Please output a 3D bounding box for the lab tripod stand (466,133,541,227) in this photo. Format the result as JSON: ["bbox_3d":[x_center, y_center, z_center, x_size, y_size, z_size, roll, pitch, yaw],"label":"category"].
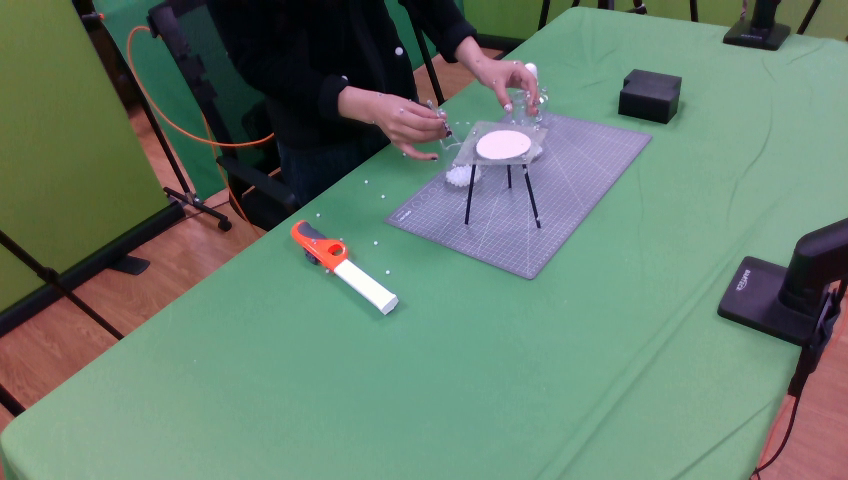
[{"bbox_3d":[0.129,-0.099,0.985,0.148,0.132,0.147,-6,38,6],"label":"lab tripod stand"}]

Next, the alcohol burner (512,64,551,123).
[{"bbox_3d":[0.215,-0.298,1.220,0.078,0.120,0.077,-7,40,7],"label":"alcohol burner"}]

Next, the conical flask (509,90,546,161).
[{"bbox_3d":[0.183,-0.213,1.111,0.075,0.122,0.075,-9,42,9],"label":"conical flask"}]

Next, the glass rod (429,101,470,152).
[{"bbox_3d":[0.047,-0.189,1.023,0.008,0.201,0.008,-6,74,21],"label":"glass rod"}]

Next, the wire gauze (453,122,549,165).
[{"bbox_3d":[0.121,-0.150,0.942,0.121,0.011,0.125,8,42,21],"label":"wire gauze"}]

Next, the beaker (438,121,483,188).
[{"bbox_3d":[0.066,-0.149,1.084,0.073,0.101,0.084,20,49,31],"label":"beaker"}]

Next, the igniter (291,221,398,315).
[{"bbox_3d":[-0.136,0.037,0.962,0.057,0.025,0.274,-41,48,-18],"label":"igniter"}]

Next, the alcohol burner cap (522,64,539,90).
[{"bbox_3d":[0.210,-0.325,1.195,0.034,0.048,0.033,-6,45,7],"label":"alcohol burner cap"}]
